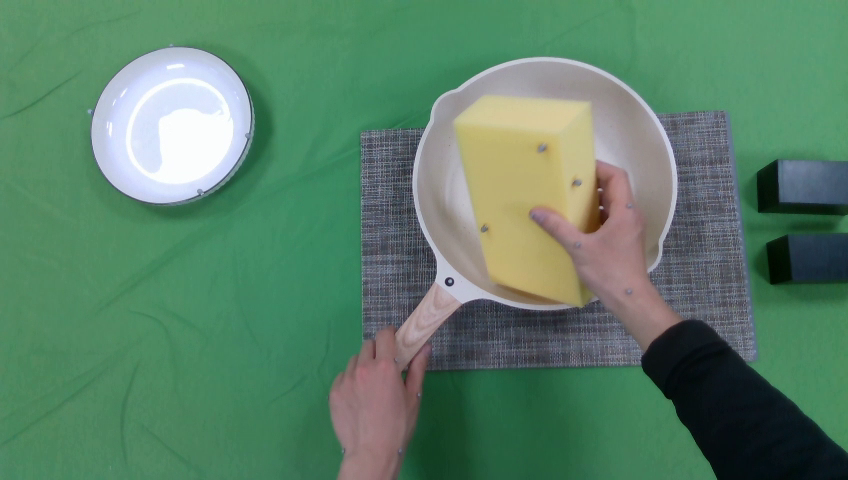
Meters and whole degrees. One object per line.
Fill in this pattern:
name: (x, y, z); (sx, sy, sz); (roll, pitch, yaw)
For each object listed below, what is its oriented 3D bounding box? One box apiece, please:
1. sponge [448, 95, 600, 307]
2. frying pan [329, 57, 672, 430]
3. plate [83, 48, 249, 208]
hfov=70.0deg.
sponge: (0.108, -0.039, 0.625); (0.117, 0.209, 0.061); (14, 45, 37)
frying pan: (0.062, 0.012, 0.679); (0.305, 0.103, 0.487); (40, 76, 10)
plate: (-0.320, -0.138, 0.766); (0.207, 0.039, 0.207); (-1, 80, 3)
